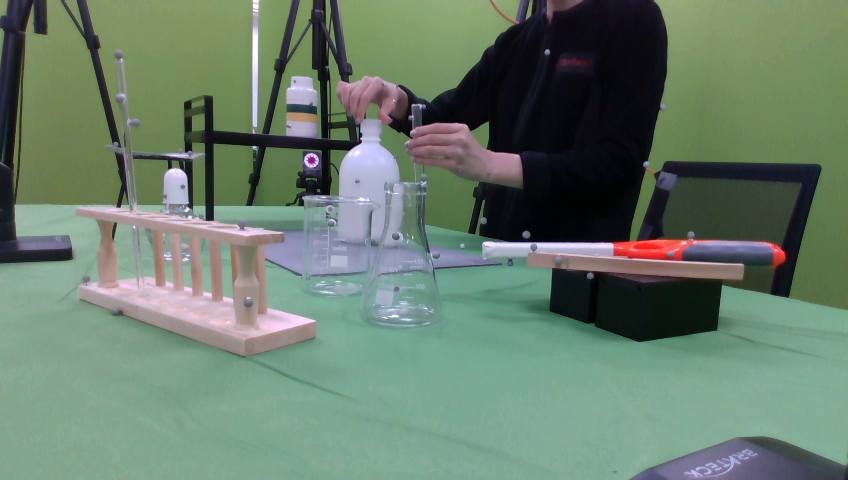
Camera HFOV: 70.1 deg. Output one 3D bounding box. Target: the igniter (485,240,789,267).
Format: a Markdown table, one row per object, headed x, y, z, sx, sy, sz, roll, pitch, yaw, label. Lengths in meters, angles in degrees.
| x | y | z | sx | sy | sz | roll | pitch | yaw | label |
| --- | --- | --- | --- | --- | --- | --- | --- | --- | --- |
| 0.197 | 0.012 | 0.585 | 0.276 | 0.025 | 0.057 | 1 | 5 | 12 | igniter |

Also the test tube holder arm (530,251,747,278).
| x | y | z | sx | sy | sz | roll | pitch | yaw | label |
| --- | --- | --- | --- | --- | --- | --- | --- | --- | --- |
| 0.182 | 0.022 | 0.523 | 0.178 | 0.015 | 0.013 | 3 | 6 | 12 | test tube holder arm |

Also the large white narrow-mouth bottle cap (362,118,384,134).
| x | y | z | sx | sy | sz | roll | pitch | yaw | label |
| --- | --- | --- | --- | --- | --- | --- | --- | --- | --- |
| -0.084 | -0.187 | 0.994 | 0.038 | 0.024 | 0.037 | 3 | 7 | 0 | large white narrow-mouth bottle cap |

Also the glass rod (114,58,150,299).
| x | y | z | sx | sy | sz | roll | pitch | yaw | label |
| --- | --- | --- | --- | --- | --- | --- | --- | --- | --- |
| -0.236 | -0.044 | 0.492 | 0.008 | 0.199 | 0.008 | 1 | 15 | 0 | glass rod |

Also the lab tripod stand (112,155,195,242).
| x | y | z | sx | sy | sz | roll | pitch | yaw | label |
| --- | --- | --- | --- | --- | --- | --- | --- | --- | --- |
| -0.405 | -0.064 | 0.931 | 0.148 | 0.131 | 0.148 | 1 | 7 | 0 | lab tripod stand |

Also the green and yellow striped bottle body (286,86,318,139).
| x | y | z | sx | sy | sz | roll | pitch | yaw | label |
| --- | --- | --- | --- | --- | --- | --- | --- | --- | --- |
| -0.251 | -0.270 | 1.245 | 0.063 | 0.119 | 0.063 | 2 | 7 | 0 | green and yellow striped bottle body |

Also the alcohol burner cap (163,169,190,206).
| x | y | z | sx | sy | sz | roll | pitch | yaw | label |
| --- | --- | --- | --- | --- | --- | --- | --- | --- | --- |
| -0.321 | -0.068 | 0.782 | 0.034 | 0.048 | 0.034 | 1 | 7 | 0 | alcohol burner cap |

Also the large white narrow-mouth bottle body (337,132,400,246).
| x | y | z | sx | sy | sz | roll | pitch | yaw | label |
| --- | --- | --- | --- | --- | --- | --- | --- | --- | --- |
| -0.091 | -0.092 | 1.006 | 0.102 | 0.194 | 0.102 | 3 | 7 | 0 | large white narrow-mouth bottle body |

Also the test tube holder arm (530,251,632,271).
| x | y | z | sx | sy | sz | roll | pitch | yaw | label |
| --- | --- | --- | --- | --- | --- | --- | --- | --- | --- |
| 0.139 | 0.019 | 0.538 | 0.087 | 0.015 | 0.010 | 3 | 6 | 13 | test tube holder arm |

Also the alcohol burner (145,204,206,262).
| x | y | z | sx | sy | sz | roll | pitch | yaw | label |
| --- | --- | --- | --- | --- | --- | --- | --- | --- | --- |
| -0.321 | -0.032 | 0.788 | 0.078 | 0.119 | 0.078 | 0 | 7 | 0 | alcohol burner |

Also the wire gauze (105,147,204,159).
| x | y | z | sx | sy | sz | roll | pitch | yaw | label |
| --- | --- | --- | --- | --- | --- | --- | --- | --- | --- |
| -0.407 | -0.131 | 0.928 | 0.125 | 0.011 | 0.121 | 2 | 6 | -11 | wire gauze |

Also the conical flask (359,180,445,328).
| x | y | z | sx | sy | sz | roll | pitch | yaw | label |
| --- | --- | --- | --- | --- | --- | --- | --- | --- | --- |
| -0.017 | 0.010 | 0.522 | 0.075 | 0.122 | 0.075 | 2 | 7 | 0 | conical flask |

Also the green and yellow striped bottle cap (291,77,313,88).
| x | y | z | sx | sy | sz | roll | pitch | yaw | label |
| --- | --- | --- | --- | --- | --- | --- | --- | --- | --- |
| -0.250 | -0.321 | 1.238 | 0.045 | 0.020 | 0.045 | 3 | 6 | 0 | green and yellow striped bottle cap |

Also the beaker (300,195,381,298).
| x | y | z | sx | sy | sz | roll | pitch | yaw | label |
| --- | --- | --- | --- | --- | --- | --- | --- | --- | --- |
| -0.087 | 0.006 | 0.626 | 0.084 | 0.100 | 0.074 | 1 | 8 | -17 | beaker |

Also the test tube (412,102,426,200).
| x | y | z | sx | sy | sz | roll | pitch | yaw | label |
| --- | --- | --- | --- | --- | --- | --- | --- | --- | --- |
| -0.007 | -0.135 | 0.931 | 0.017 | 0.150 | 0.017 | -2 | 10 | 1 | test tube |

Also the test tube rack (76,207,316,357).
| x | y | z | sx | sy | sz | roll | pitch | yaw | label |
| --- | --- | --- | --- | --- | --- | --- | --- | --- | --- |
| -0.196 | 0.023 | 0.500 | 0.241 | 0.085 | 0.067 | 8 | 9 | 36 | test tube rack |
